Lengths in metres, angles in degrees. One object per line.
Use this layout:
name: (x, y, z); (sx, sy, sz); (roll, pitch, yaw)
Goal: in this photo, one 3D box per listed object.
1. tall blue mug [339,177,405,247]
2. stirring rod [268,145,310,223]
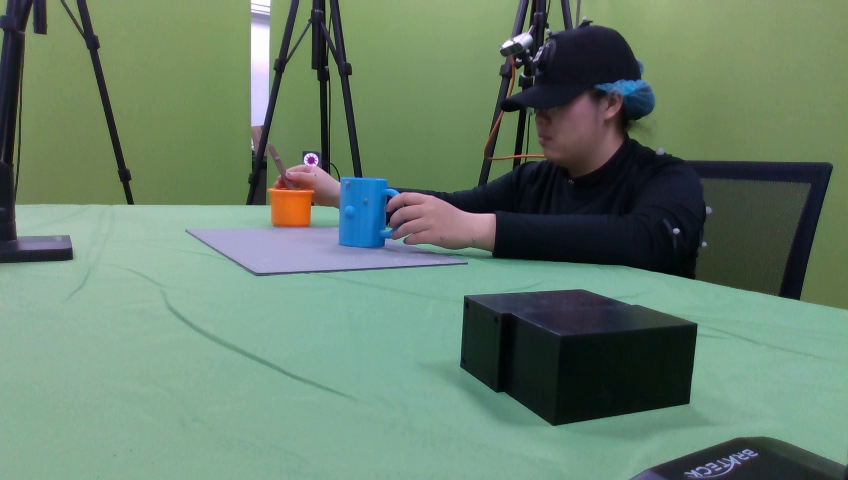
tall blue mug: (-0.083, -0.046, 0.977); (0.107, 0.108, 0.078); (2, 6, -1)
stirring rod: (-0.273, -0.114, 1.225); (0.006, 0.176, 0.014); (-29, -4, 35)
